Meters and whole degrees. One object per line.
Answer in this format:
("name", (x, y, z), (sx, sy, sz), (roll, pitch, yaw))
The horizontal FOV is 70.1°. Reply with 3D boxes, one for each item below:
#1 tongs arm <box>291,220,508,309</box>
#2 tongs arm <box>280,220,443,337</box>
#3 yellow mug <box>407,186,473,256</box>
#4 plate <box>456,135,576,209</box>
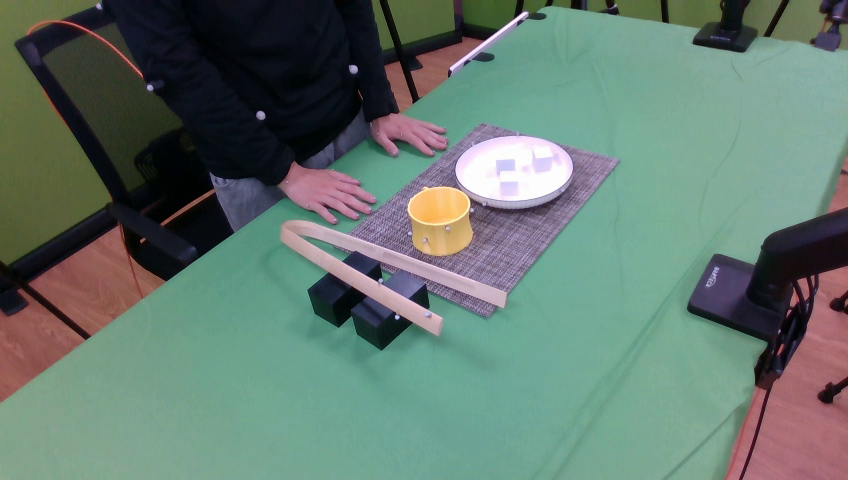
("tongs arm", (-0.049, 0.031, 0.924), (0.385, 0.028, 0.028), (18, 25, 26))
("tongs arm", (-0.101, 0.043, 0.861), (0.381, 0.026, 0.051), (24, 24, 38))
("yellow mug", (0.021, -0.041, 0.973), (0.100, 0.064, 0.129), (-19, 41, -12))
("plate", (0.161, -0.116, 1.064), (0.207, 0.039, 0.206), (-4, 40, 4))
